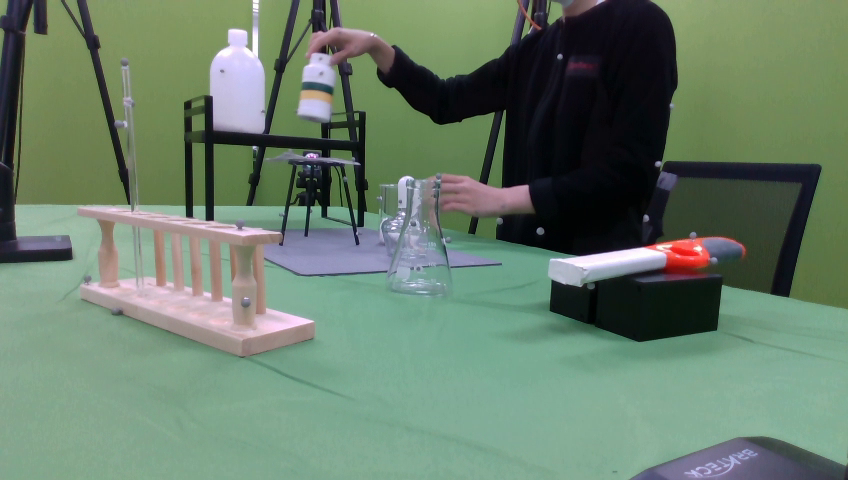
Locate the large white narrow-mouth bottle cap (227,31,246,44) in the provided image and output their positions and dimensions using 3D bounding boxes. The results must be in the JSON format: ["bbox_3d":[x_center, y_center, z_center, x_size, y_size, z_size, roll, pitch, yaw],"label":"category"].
[{"bbox_3d":[-0.361,-0.389,1.165,0.038,0.024,0.037,1,7,0],"label":"large white narrow-mouth bottle cap"}]

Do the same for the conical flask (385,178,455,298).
[{"bbox_3d":[-0.002,-0.004,0.639,0.075,0.122,0.075,2,7,0],"label":"conical flask"}]

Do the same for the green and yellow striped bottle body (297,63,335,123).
[{"bbox_3d":[-0.210,-0.295,1.185,0.063,0.119,0.063,7,0,0],"label":"green and yellow striped bottle body"}]

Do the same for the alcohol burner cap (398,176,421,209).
[{"bbox_3d":[-0.023,-0.068,0.866,0.034,0.048,0.034,-5,8,1],"label":"alcohol burner cap"}]

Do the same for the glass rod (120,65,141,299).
[{"bbox_3d":[-0.249,-0.047,0.513,0.008,0.199,0.008,-1,4,0],"label":"glass rod"}]

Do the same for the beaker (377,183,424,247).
[{"bbox_3d":[-0.037,-0.041,0.994,0.074,0.100,0.083,-5,11,-44],"label":"beaker"}]

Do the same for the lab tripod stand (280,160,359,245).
[{"bbox_3d":[-0.176,-0.062,0.973,0.148,0.131,0.148,1,7,0],"label":"lab tripod stand"}]

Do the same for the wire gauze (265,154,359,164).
[{"bbox_3d":[-0.181,-0.129,0.969,0.126,0.011,0.121,-1,7,-27],"label":"wire gauze"}]

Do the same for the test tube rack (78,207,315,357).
[{"bbox_3d":[-0.196,0.023,0.500,0.241,0.085,0.067,8,9,37],"label":"test tube rack"}]

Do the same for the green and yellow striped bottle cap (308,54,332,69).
[{"bbox_3d":[-0.203,-0.349,1.184,0.045,0.020,0.045,7,4,0],"label":"green and yellow striped bottle cap"}]

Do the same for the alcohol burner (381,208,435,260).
[{"bbox_3d":[-0.023,-0.032,0.871,0.078,0.119,0.078,0,6,0],"label":"alcohol burner"}]

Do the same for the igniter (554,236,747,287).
[{"bbox_3d":[0.221,0.017,0.558,0.278,0.025,0.057,-5,15,-39],"label":"igniter"}]

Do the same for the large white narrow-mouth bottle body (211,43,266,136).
[{"bbox_3d":[-0.361,-0.302,1.176,0.102,0.194,0.102,1,7,0],"label":"large white narrow-mouth bottle body"}]
